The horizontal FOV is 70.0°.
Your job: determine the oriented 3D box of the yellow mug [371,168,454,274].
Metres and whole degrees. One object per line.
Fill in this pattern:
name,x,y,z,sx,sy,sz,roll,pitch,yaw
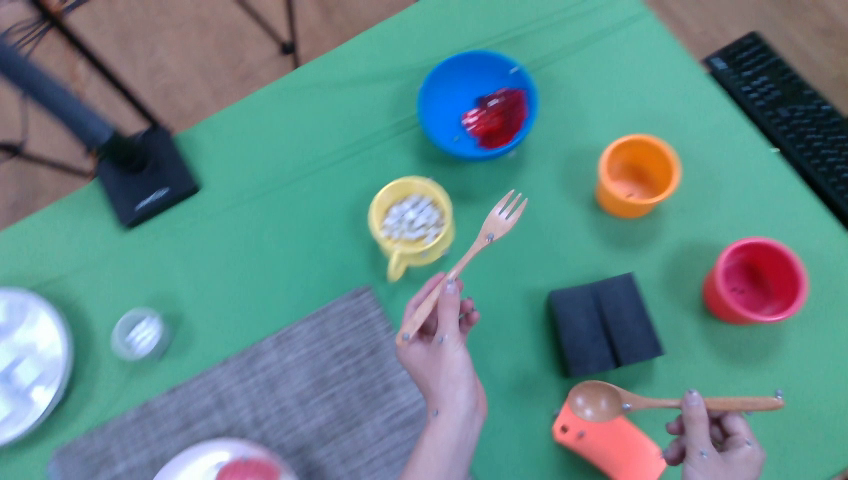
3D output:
yellow mug,-0.018,-0.019,0.762,0.099,0.064,0.130,17,77,10

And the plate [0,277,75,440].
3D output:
plate,-0.541,0.152,0.774,0.207,0.039,0.206,-1,74,5

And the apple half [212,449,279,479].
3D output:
apple half,-0.203,0.261,0.681,0.081,0.033,0.080,-4,33,3

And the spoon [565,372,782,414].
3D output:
spoon,0.231,0.148,0.580,0.193,0.022,0.041,-8,75,33

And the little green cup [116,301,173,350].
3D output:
little green cup,-0.352,0.111,0.769,0.061,0.039,0.061,-1,74,5

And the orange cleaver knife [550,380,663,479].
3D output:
orange cleaver knife,0.233,0.249,0.687,0.077,0.012,0.210,-43,74,-13

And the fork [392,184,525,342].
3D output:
fork,0.036,0.019,0.591,0.028,0.019,0.207,38,65,9

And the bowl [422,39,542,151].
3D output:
bowl,0.075,-0.176,0.792,0.151,0.077,0.150,-1,75,5

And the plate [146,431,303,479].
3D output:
plate,-0.227,0.325,0.692,0.209,0.038,0.208,-1,74,5
